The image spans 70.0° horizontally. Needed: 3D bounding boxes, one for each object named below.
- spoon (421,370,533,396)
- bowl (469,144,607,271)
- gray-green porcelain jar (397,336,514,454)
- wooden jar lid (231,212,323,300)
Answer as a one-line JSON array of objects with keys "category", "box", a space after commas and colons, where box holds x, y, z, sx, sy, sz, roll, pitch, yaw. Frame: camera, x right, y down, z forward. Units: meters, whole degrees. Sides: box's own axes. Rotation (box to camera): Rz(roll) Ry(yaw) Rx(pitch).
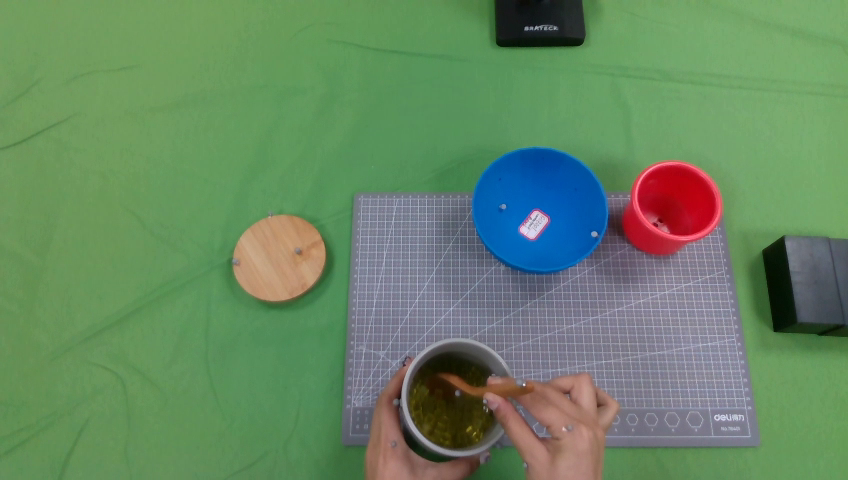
[{"category": "spoon", "box": [0.045, 0.132, 0.549, 0.042, 0.193, 0.021, 36, 70, -12]}, {"category": "bowl", "box": [0.125, -0.026, 0.698, 0.151, 0.077, 0.150, 0, 70, 1]}, {"category": "gray-green porcelain jar", "box": [0.026, 0.159, 0.605, 0.106, 0.127, 0.105, 1, 71, -3]}, {"category": "wooden jar lid", "box": [-0.173, 0.020, 0.719, 0.108, 0.021, 0.107, 0, 70, 1]}]
